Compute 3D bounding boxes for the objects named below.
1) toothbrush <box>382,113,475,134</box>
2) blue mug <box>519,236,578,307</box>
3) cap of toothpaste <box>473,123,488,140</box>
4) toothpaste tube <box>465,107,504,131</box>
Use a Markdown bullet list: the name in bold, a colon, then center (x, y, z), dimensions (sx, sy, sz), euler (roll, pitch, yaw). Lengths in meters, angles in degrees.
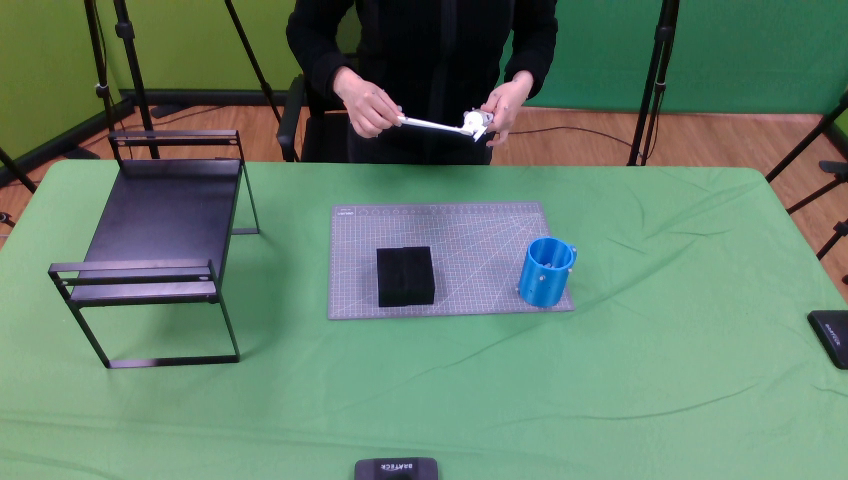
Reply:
- **toothbrush**: center (0.006, -0.212, 1.086), dimensions (0.181, 0.014, 0.016), euler (13, 74, 22)
- **blue mug**: center (0.234, 0.052, 1.102), dimensions (0.116, 0.106, 0.082), euler (-23, 52, -24)
- **cap of toothpaste**: center (0.097, -0.190, 1.056), dimensions (0.011, 0.037, 0.037), euler (40, 50, -7)
- **toothpaste tube**: center (0.111, -0.232, 1.135), dimensions (0.055, 0.034, 0.165), euler (22, 25, 9)
